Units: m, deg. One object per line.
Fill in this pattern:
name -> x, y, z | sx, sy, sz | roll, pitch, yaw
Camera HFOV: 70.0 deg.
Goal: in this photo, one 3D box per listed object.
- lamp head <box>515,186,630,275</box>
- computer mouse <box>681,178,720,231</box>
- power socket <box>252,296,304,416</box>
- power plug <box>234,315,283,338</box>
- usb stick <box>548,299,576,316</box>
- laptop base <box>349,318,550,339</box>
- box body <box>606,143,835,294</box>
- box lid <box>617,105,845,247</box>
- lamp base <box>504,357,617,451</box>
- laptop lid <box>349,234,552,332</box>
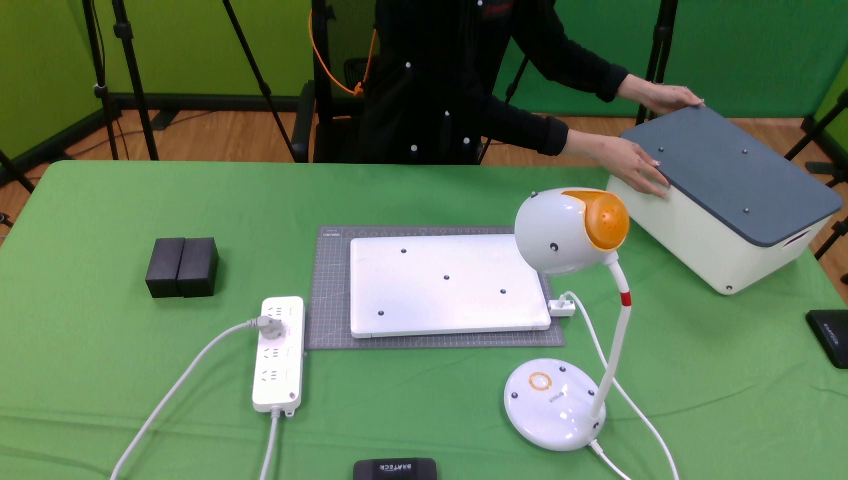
lamp head -> 0.188, -0.013, 0.728 | 0.112, 0.112, 0.122 | -25, 9, -25
computer mouse -> 0.596, -0.078, 1.290 | 0.117, 0.041, 0.062 | 56, 46, -7
power socket -> -0.238, 0.181, 0.997 | 0.072, 0.033, 0.225 | -3, 47, -5
power plug -> -0.269, 0.143, 1.000 | 0.072, 0.053, 0.035 | 4, 47, 3
usb stick -> 0.239, 0.121, 1.084 | 0.059, 0.027, 0.021 | -1, 51, -1
laptop base -> 0.039, 0.081, 1.124 | 0.355, 0.023, 0.234 | -2, 43, -6
box body -> 0.582, -0.088, 1.230 | 0.254, 0.161, 0.361 | -22, 52, -23
box lid -> 0.586, -0.138, 1.176 | 0.263, 0.015, 0.369 | -22, 51, -23
lamp base -> 0.220, 0.211, 0.903 | 0.160, 0.181, 0.178 | -33, 59, -30
laptop lid -> 0.040, 0.071, 1.118 | 0.357, 0.013, 0.240 | 0, 44, -5
